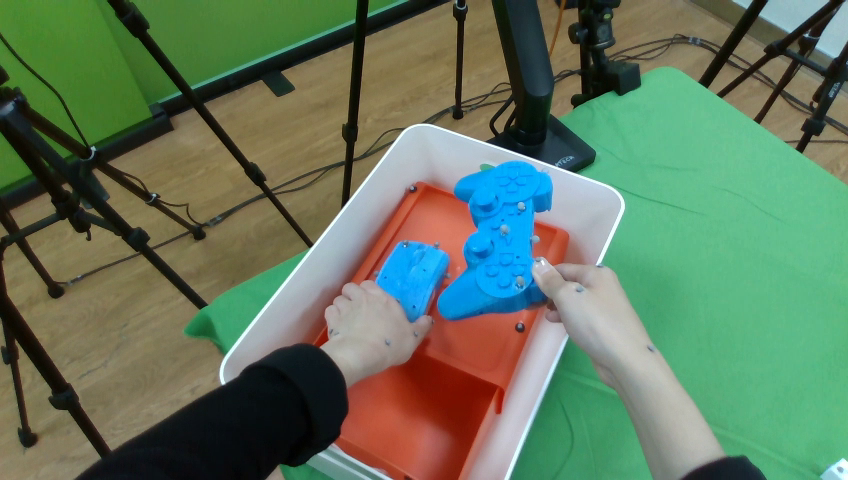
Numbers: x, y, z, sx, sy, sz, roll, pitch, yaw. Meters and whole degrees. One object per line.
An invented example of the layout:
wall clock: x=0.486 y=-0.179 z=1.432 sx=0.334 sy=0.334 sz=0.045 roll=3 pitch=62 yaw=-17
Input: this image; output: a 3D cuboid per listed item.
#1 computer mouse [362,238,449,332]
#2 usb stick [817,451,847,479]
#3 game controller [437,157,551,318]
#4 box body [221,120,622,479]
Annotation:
computer mouse: x=-0.018 y=0.041 z=0.636 sx=0.062 sy=0.041 sz=0.116 roll=15 pitch=49 yaw=12
usb stick: x=0.410 y=0.233 z=0.576 sx=0.021 sy=0.027 sz=0.058 roll=-26 pitch=61 yaw=-23
game controller: x=0.062 y=-0.008 z=0.532 sx=0.097 sy=0.052 sz=0.154 roll=-1 pitch=57 yaw=16
box body: x=0.016 y=0.077 z=0.624 sx=0.253 sy=0.162 sz=0.362 roll=22 pitch=57 yaw=16
